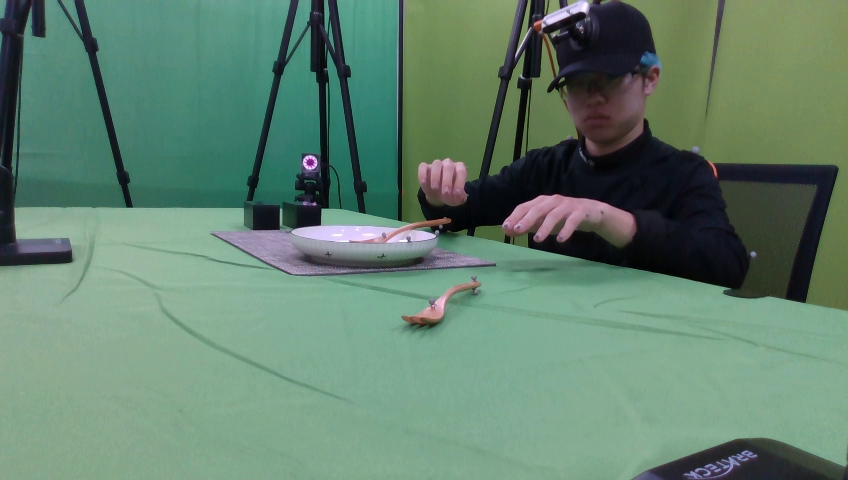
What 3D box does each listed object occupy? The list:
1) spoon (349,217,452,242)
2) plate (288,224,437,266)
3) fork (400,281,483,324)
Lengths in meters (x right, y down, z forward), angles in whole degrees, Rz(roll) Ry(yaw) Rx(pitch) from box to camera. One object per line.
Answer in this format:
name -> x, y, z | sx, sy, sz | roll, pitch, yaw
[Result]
spoon -> -0.030, -0.015, 0.924 | 0.195, 0.021, 0.041 | -19, 15, -36
plate -> -0.086, 0.007, 0.852 | 0.208, 0.039, 0.207 | 2, 7, 0
fork -> 0.025, 0.057, 0.590 | 0.028, 0.018, 0.208 | -2, 7, 21
